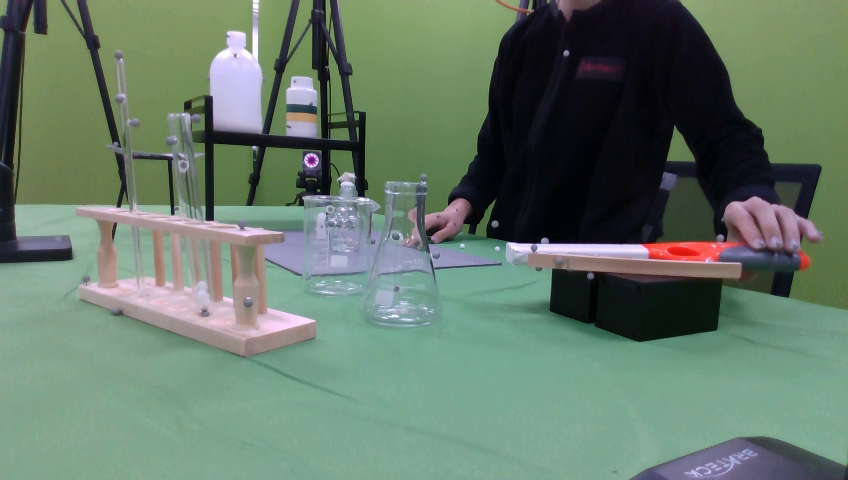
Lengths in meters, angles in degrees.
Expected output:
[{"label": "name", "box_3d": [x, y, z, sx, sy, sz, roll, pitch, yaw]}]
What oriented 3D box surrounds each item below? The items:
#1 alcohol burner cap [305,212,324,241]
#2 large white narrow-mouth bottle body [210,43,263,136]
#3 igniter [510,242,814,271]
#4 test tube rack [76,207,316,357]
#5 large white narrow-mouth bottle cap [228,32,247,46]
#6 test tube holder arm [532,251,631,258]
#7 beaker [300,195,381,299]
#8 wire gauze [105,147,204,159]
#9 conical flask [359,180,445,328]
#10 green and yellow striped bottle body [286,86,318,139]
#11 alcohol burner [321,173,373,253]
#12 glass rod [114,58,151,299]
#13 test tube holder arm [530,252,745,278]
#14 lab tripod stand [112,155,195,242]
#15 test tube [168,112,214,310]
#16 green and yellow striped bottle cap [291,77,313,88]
[{"label": "alcohol burner cap", "box_3d": [-0.185, -0.023, 1.027, 0.034, 0.048, 0.034, 2, 6, 0]}, {"label": "large white narrow-mouth bottle body", "box_3d": [-0.369, -0.306, 1.194, 0.102, 0.194, 0.102, 3, 8, 0]}, {"label": "igniter", "box_3d": [0.220, 0.015, 0.566, 0.277, 0.025, 0.057, 1, 11, -1]}, {"label": "test tube rack", "box_3d": [-0.196, 0.023, 0.500, 0.241, 0.085, 0.067, 8, 9, 36]}, {"label": "large white narrow-mouth bottle cap", "box_3d": [-0.364, -0.391, 1.180, 0.038, 0.024, 0.037, 3, 8, 0]}, {"label": "test tube holder arm", "box_3d": [0.139, 0.019, 0.536, 0.088, 0.015, 0.010, 3, 9, 10]}, {"label": "beaker", "box_3d": [-0.087, 0.006, 0.626, 0.084, 0.100, 0.074, 1, 8, -17]}, {"label": "wire gauze", "box_3d": [-0.408, -0.131, 0.928, 0.125, 0.011, 0.121, 2, 5, -11]}, {"label": "conical flask", "box_3d": [-0.017, 0.010, 0.522, 0.075, 0.122, 0.075, 2, 7, 0]}, {"label": "green and yellow striped bottle body", "box_3d": [-0.251, -0.270, 1.245, 0.063, 0.119, 0.063, 2, 7, 0]}, {"label": "alcohol burner", "box_3d": [-0.115, -0.041, 0.905, 0.078, 0.119, 0.078, 1, 6, 0]}, {"label": "glass rod", "box_3d": [-0.236, -0.044, 0.492, 0.008, 0.199, 0.008, 1, 15, 0]}, {"label": "test tube holder arm", "box_3d": [0.182, 0.022, 0.523, 0.178, 0.015, 0.013, 3, 9, 9]}, {"label": "lab tripod stand", "box_3d": [-0.405, -0.064, 0.931, 0.148, 0.131, 0.148, 1, 6, 0]}, {"label": "test tube", "box_3d": [-0.175, -0.020, 0.455, 0.017, 0.150, 0.017, -4, 9, 1]}, {"label": "green and yellow striped bottle cap", "box_3d": [-0.250, -0.321, 1.237, 0.045, 0.020, 0.045, 4, 5, 0]}]
